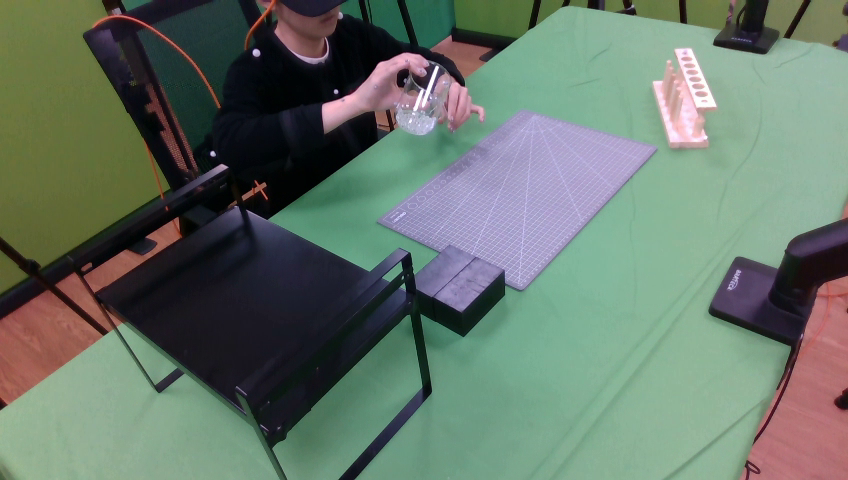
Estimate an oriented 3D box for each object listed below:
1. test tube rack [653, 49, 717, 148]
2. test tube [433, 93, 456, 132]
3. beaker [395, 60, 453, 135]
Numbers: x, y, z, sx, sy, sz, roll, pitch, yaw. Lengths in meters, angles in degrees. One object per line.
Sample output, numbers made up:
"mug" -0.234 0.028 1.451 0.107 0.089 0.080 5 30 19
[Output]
"test tube rack" 0.502 -0.281 1.177 0.066 0.085 0.241 1 41 10
"test tube" 0.039 -0.232 1.110 0.017 0.151 0.017 -3 77 13
"beaker" -0.001 -0.228 0.988 0.073 0.084 0.100 8 62 21
